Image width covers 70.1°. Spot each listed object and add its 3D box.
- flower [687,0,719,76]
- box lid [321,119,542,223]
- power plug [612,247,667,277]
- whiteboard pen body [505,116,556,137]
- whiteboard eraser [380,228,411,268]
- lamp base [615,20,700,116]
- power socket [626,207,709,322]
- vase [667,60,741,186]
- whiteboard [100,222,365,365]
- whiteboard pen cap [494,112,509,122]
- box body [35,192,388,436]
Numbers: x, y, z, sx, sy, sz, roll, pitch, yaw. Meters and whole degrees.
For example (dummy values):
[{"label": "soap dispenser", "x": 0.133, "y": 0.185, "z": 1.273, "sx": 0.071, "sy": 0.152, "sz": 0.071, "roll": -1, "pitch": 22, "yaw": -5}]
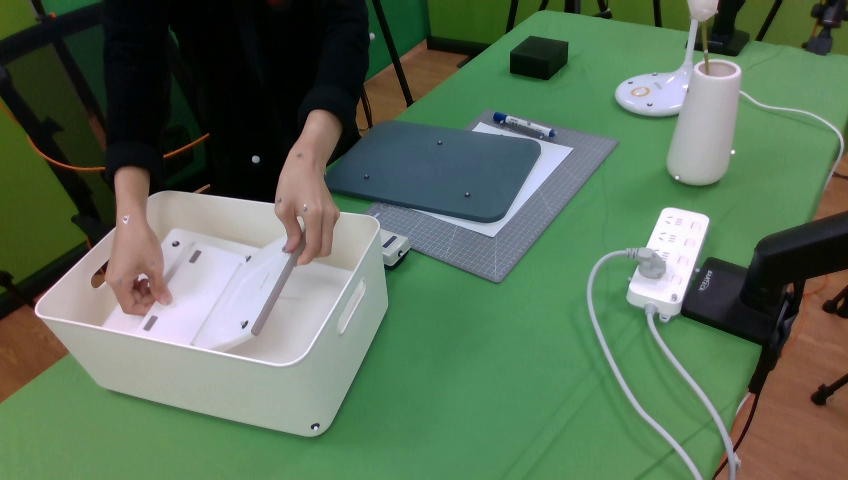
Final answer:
[{"label": "flower", "x": 0.436, "y": -0.242, "z": 0.934, "sx": 0.038, "sy": 0.364, "sz": 0.043, "roll": -24, "pitch": 49, "yaw": 8}, {"label": "box lid", "x": 0.017, "y": -0.141, "z": 1.145, "sx": 0.369, "sy": 0.015, "sz": 0.263, "roll": 12, "pitch": 44, "yaw": 22}, {"label": "power plug", "x": 0.306, "y": 0.031, "z": 0.852, "sx": 0.072, "sy": 0.053, "sz": 0.035, "roll": 21, "pitch": 48, "yaw": 38}, {"label": "whiteboard pen body", "x": 0.203, "y": -0.232, "z": 1.213, "sx": 0.139, "sy": 0.017, "sz": 0.017, "roll": 27, "pitch": 51, "yaw": 36}, {"label": "whiteboard eraser", "x": -0.081, "y": 0.008, "z": 0.964, "sx": 0.112, "sy": 0.042, "sz": 0.056, "roll": 19, "pitch": 49, "yaw": 27}, {"label": "lamp base", "x": 0.484, "y": -0.364, "z": 1.211, "sx": 0.180, "sy": 0.181, "sz": 0.159, "roll": -15, "pitch": 41, "yaw": -14}, {"label": "power socket", "x": 0.360, "y": 0.026, "z": 0.886, "sx": 0.072, "sy": 0.033, "sz": 0.227, "roll": 17, "pitch": 46, "yaw": 27}, {"label": "vase", "x": 0.463, "y": -0.189, "z": 0.994, "sx": 0.098, "sy": 0.201, "sz": 0.097, "roll": -4, "pitch": 40, "yaw": 4}, {"label": "whiteboard", "x": -0.249, "y": 0.057, "z": 0.744, "sx": 0.305, "sy": 0.144, "sz": 0.217, "roll": 14, "pitch": 53, "yaw": 9}, {"label": "whiteboard pen cap", "x": 0.161, "y": -0.253, "z": 1.248, "sx": 0.033, "sy": 0.018, "sz": 0.018, "roll": 27, "pitch": 51, "yaw": 36}, {"label": "box body", "x": -0.251, "y": 0.087, "z": 0.800, "sx": 0.362, "sy": 0.161, "sz": 0.254, "roll": 7, "pitch": 42, "yaw": 16}]
